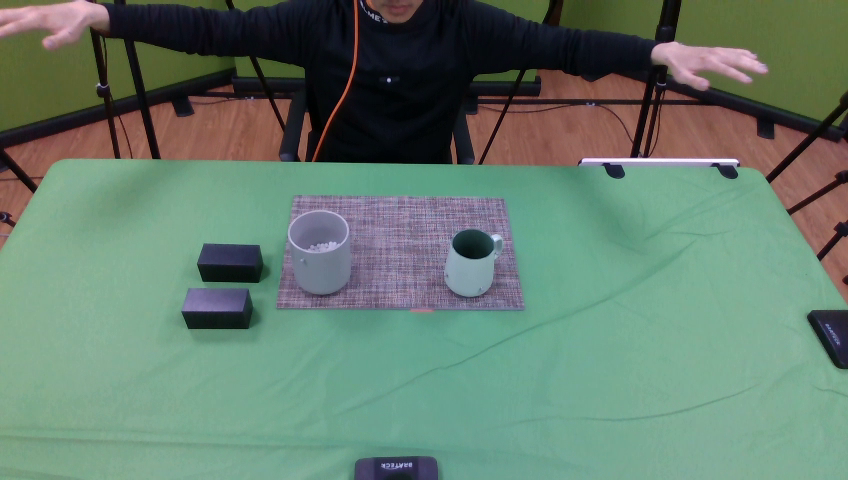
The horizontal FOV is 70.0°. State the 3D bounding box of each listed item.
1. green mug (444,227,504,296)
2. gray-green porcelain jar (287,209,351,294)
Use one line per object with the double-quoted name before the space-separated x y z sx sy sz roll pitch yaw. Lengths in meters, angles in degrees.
"green mug" 0.097 0.033 1.109 0.125 0.105 0.092 -31 55 -29
"gray-green porcelain jar" -0.184 0.026 1.080 0.106 0.127 0.105 2 47 -2
